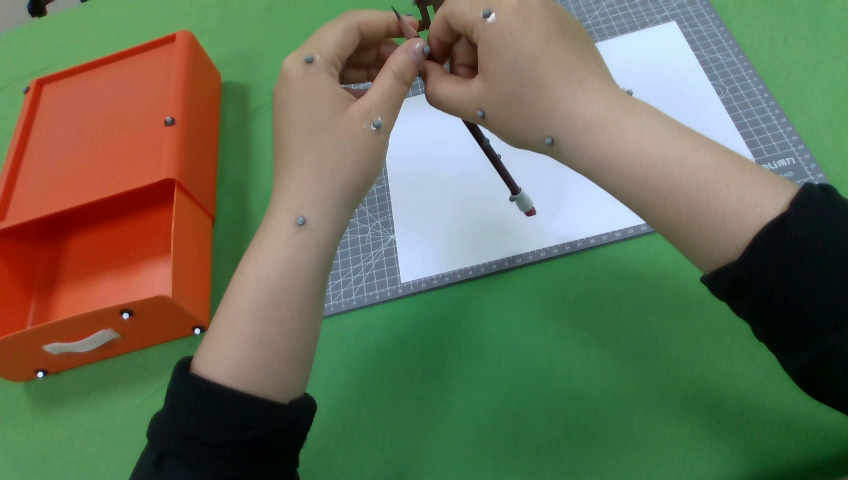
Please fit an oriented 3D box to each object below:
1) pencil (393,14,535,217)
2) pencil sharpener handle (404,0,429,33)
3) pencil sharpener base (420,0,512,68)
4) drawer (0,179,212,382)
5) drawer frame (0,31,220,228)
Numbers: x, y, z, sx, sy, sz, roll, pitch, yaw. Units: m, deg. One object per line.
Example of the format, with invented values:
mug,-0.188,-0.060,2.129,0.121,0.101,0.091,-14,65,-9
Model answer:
pencil,0.033,-0.073,0.404,0.012,0.196,0.012,-20,47,23
pencil sharpener handle,-0.014,-0.226,0.584,0.030,0.068,0.035,-13,62,9
pencil sharpener base,0.038,-0.230,0.585,0.076,0.108,0.061,-13,57,9
drawer,-0.299,0.005,0.560,0.194,0.074,0.209,-16,55,7
drawer frame,-0.320,-0.092,0.622,0.201,0.083,0.211,-16,55,7
